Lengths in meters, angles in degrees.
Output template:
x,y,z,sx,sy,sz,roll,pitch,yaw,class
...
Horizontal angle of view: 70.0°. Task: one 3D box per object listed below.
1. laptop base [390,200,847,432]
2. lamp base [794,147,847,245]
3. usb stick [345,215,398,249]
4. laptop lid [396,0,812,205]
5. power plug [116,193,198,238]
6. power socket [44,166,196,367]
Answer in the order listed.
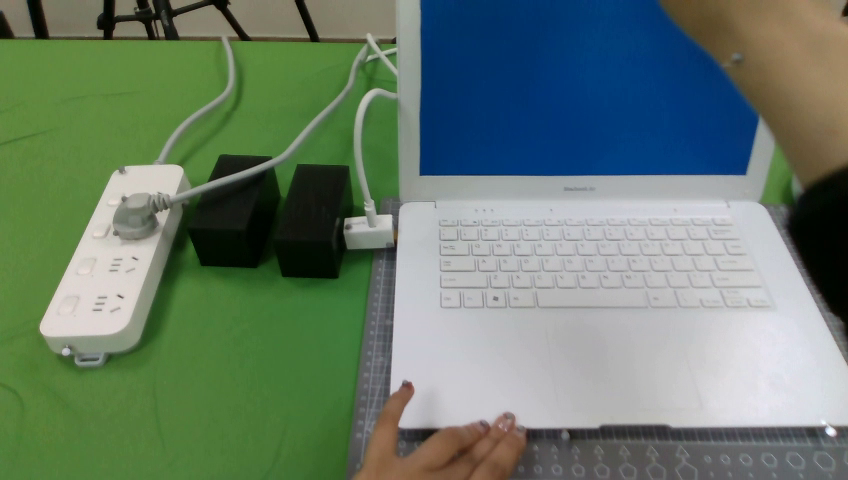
x,y,z,sx,sy,sz,roll,pitch,yaw,class
0.152,0.054,0.514,0.354,0.023,0.233,0,50,0,laptop base
0.457,-0.097,0.547,0.159,0.182,0.179,31,50,27,lamp base
-0.041,-0.007,0.555,0.059,0.027,0.021,-1,46,0,usb stick
0.152,-0.138,0.543,0.357,0.243,0.013,-1,26,0,laptop lid
-0.235,-0.015,0.536,0.072,0.053,0.035,7,47,6,power plug
-0.264,0.009,0.545,0.072,0.033,0.224,-1,46,-2,power socket
